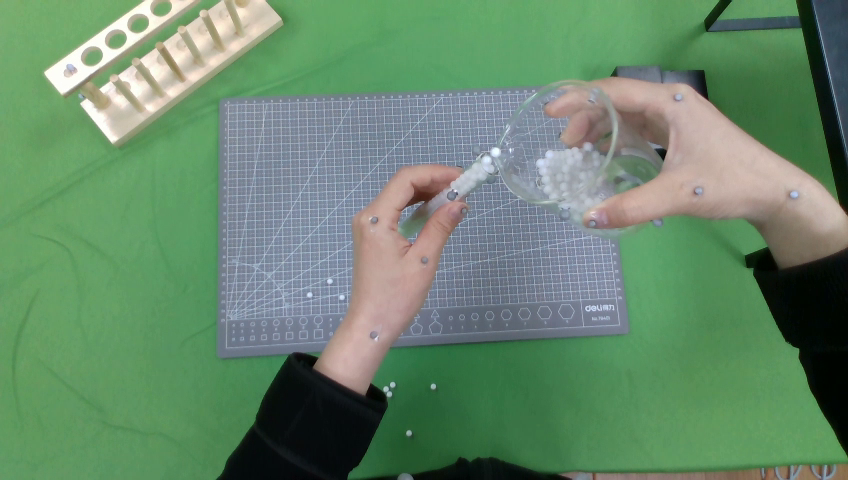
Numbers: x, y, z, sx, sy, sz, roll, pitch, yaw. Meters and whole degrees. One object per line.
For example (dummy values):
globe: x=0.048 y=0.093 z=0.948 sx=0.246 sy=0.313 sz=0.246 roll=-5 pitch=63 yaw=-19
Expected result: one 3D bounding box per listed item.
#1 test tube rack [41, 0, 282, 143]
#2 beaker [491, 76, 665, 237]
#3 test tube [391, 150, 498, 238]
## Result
test tube rack: x=-0.283 y=-0.220 z=0.678 sx=0.242 sy=0.085 sz=0.066 roll=-40 pitch=82 yaw=-9
beaker: x=0.101 y=-0.045 z=0.381 sx=0.083 sy=0.101 sz=0.073 roll=-1 pitch=76 yaw=39
test tube: x=0.009 y=-0.028 z=0.438 sx=0.017 sy=0.150 sz=0.017 roll=8 pitch=70 yaw=-24
